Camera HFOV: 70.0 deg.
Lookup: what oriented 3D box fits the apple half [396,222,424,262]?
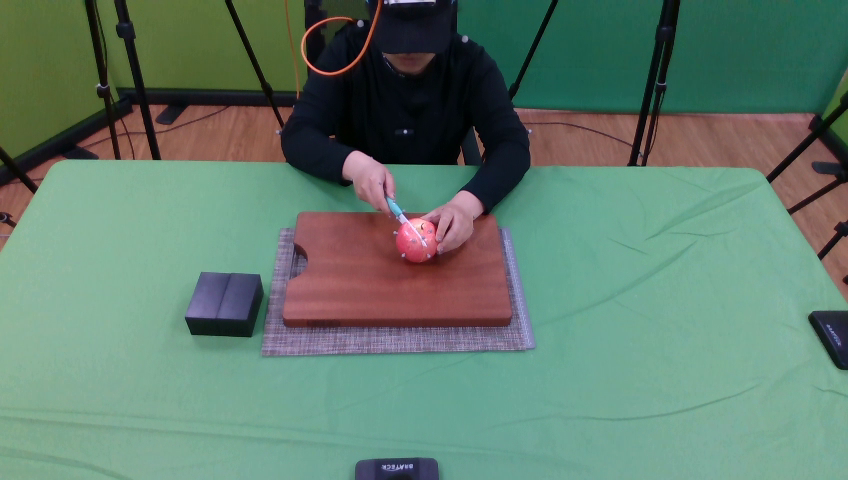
[{"bbox_3d":[-0.034,0.011,1.110,0.033,0.081,0.081,-20,50,-25],"label":"apple half"}]

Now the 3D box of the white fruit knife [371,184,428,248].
[{"bbox_3d":[-0.047,-0.048,1.129,0.016,0.027,0.206,-20,47,-25],"label":"white fruit knife"}]

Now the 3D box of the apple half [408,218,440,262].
[{"bbox_3d":[0.001,-0.002,1.126,0.053,0.075,0.080,-19,46,-26],"label":"apple half"}]
